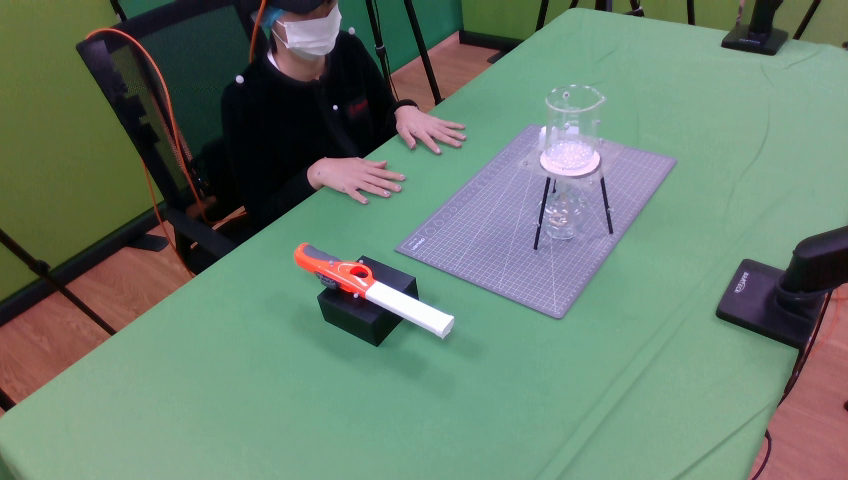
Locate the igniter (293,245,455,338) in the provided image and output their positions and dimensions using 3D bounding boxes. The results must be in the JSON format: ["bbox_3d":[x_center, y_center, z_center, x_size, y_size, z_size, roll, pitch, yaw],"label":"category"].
[{"bbox_3d":[-0.079,0.065,0.833,0.274,0.025,0.057,23,48,27],"label":"igniter"}]

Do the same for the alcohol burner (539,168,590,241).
[{"bbox_3d":[0.217,-0.059,0.935,0.078,0.119,0.077,-6,40,6],"label":"alcohol burner"}]

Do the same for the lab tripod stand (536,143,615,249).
[{"bbox_3d":[0.224,-0.069,0.931,0.148,0.132,0.147,-4,42,4],"label":"lab tripod stand"}]

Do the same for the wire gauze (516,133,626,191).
[{"bbox_3d":[0.217,-0.122,0.893,0.124,0.011,0.122,20,47,32],"label":"wire gauze"}]

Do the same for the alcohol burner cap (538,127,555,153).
[{"bbox_3d":[0.234,-0.191,1.147,0.034,0.048,0.033,-5,40,5],"label":"alcohol burner cap"}]

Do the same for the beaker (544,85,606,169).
[{"bbox_3d":[0.212,-0.158,0.861,0.084,0.101,0.073,-3,41,6],"label":"beaker"}]
